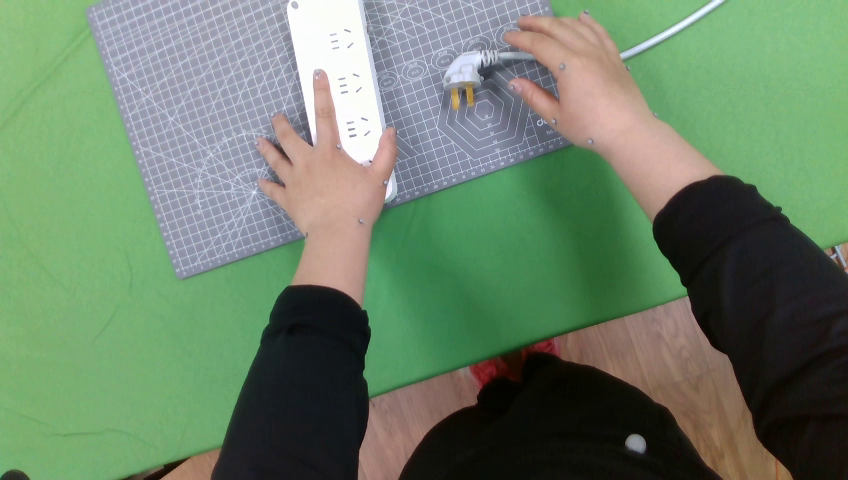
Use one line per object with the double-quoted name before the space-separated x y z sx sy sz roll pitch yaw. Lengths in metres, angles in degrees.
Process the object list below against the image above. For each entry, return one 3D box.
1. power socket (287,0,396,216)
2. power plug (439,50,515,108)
"power socket" -0.081 -0.136 0.595 0.072 0.032 0.226 -10 92 6
"power plug" 0.050 -0.154 0.575 0.072 0.035 0.052 -3 91 15
